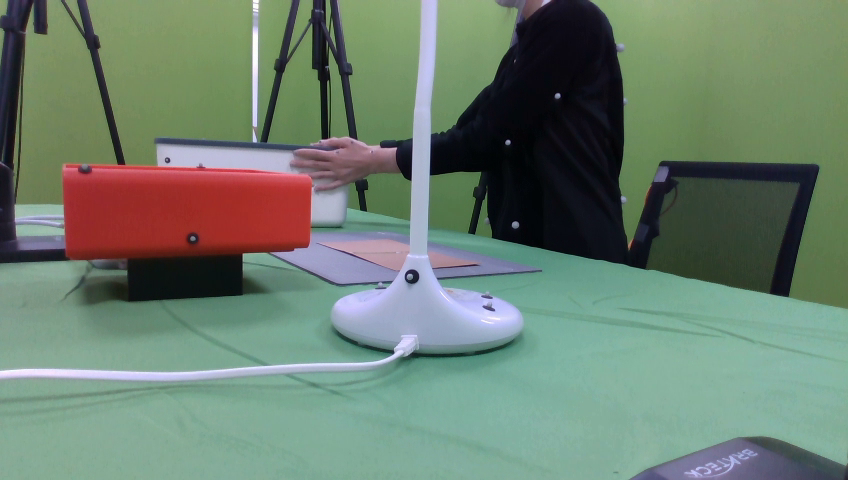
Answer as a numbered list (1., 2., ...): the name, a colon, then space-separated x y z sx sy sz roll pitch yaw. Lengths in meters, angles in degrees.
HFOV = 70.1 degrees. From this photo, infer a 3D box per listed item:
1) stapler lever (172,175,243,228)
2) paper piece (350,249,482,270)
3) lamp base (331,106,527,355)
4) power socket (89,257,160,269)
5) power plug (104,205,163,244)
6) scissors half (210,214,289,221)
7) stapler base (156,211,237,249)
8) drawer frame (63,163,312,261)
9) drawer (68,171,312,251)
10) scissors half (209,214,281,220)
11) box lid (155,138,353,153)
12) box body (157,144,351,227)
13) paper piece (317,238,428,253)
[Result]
1. stapler lever: -0.217 -0.041 0.618 0.027 0.040 0.118 19 11 -2
2. paper piece: -0.013 0.026 0.842 0.139 0.008 0.135 0 11 -32
3. lamp base: 0.006 -0.012 0.478 0.161 0.180 0.179 2 10 2
4. power socket: -0.409 0.004 0.793 0.072 0.032 0.225 -2 8 -38
5. power plug: -0.390 -0.021 0.815 0.073 0.052 0.035 -1 7 -28
6. scissors half: -0.357 -0.044 1.235 0.175 0.013 0.040 1 -5 9
7. stapler base: -0.227 -0.017 0.624 0.041 0.024 0.130 19 9 -2
8. drawer frame: -0.248 -0.036 0.626 0.215 0.082 0.200 -3 9 -31
9. drawer: -0.247 -0.037 0.629 0.213 0.073 0.193 -2 9 -30
10. scissors half: -0.364 -0.045 1.216 0.174 0.013 0.040 -1 0 26
11. box lid: -0.348 -0.193 1.257 0.373 0.015 0.262 0 8 -20
12. box body: -0.353 -0.119 1.266 0.366 0.160 0.253 0 8 -20
13. paper piece: -0.083 0.008 0.952 0.136 0.004 0.134 -2 9 -31
